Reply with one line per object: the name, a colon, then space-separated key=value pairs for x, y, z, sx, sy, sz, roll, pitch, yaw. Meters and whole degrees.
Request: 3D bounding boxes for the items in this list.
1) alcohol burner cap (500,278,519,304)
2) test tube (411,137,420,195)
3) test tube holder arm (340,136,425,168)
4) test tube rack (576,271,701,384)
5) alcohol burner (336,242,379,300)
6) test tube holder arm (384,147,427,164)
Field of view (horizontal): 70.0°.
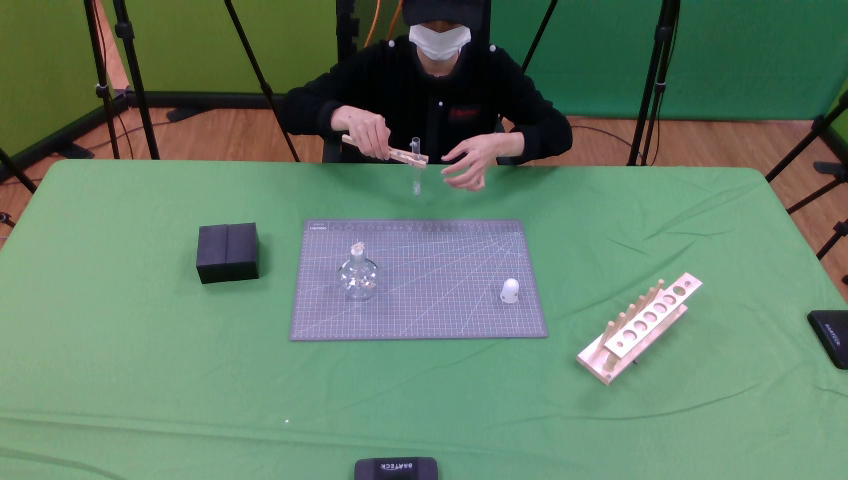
alcohol burner cap: x=0.157 y=0.090 z=1.104 sx=0.034 sy=0.048 sz=0.033 roll=2 pitch=46 yaw=-2
test tube: x=-0.016 y=-0.141 z=1.182 sx=0.017 sy=0.151 sz=0.017 roll=0 pitch=52 yaw=0
test tube holder arm: x=-0.081 y=-0.172 z=1.175 sx=0.178 sy=0.015 sz=0.013 roll=17 pitch=46 yaw=11
test tube rack: x=0.373 y=0.138 z=1.047 sx=0.242 sy=0.085 sz=0.066 roll=-31 pitch=56 yaw=-29
alcohol burner: x=-0.118 y=0.050 z=1.072 sx=0.078 sy=0.120 sz=0.077 roll=2 pitch=44 yaw=-1
test tube holder arm: x=-0.037 y=-0.163 z=1.172 sx=0.088 sy=0.015 sz=0.010 roll=12 pitch=46 yaw=6
